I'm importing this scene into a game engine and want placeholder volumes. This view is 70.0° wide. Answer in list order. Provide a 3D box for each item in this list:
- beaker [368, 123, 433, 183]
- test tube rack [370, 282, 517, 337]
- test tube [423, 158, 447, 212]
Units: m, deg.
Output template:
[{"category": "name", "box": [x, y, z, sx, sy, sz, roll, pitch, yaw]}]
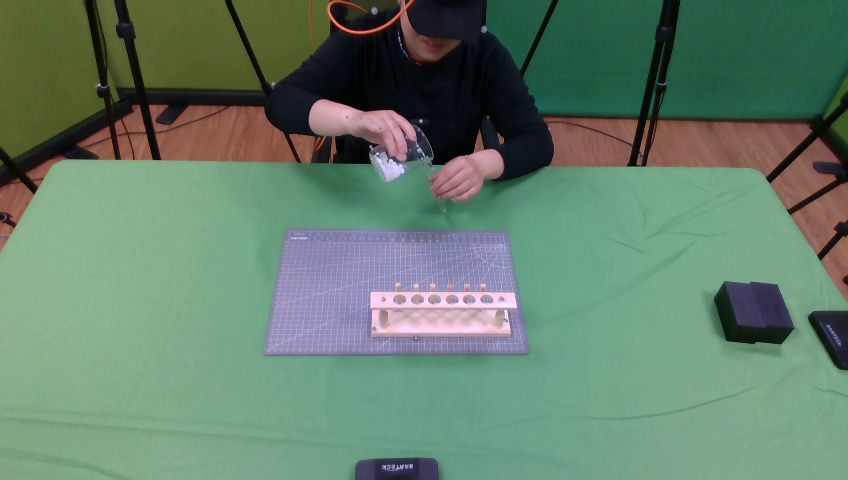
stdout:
[{"category": "beaker", "box": [-0.044, -0.154, 1.109, 0.100, 0.084, 0.073, -31, 43, -11]}, {"category": "test tube rack", "box": [0.030, 0.116, 1.041, 0.242, 0.085, 0.066, 1, 46, -4]}, {"category": "test tube", "box": [0.023, -0.106, 1.202, 0.017, 0.151, 0.017, -9, 51, 11]}]
